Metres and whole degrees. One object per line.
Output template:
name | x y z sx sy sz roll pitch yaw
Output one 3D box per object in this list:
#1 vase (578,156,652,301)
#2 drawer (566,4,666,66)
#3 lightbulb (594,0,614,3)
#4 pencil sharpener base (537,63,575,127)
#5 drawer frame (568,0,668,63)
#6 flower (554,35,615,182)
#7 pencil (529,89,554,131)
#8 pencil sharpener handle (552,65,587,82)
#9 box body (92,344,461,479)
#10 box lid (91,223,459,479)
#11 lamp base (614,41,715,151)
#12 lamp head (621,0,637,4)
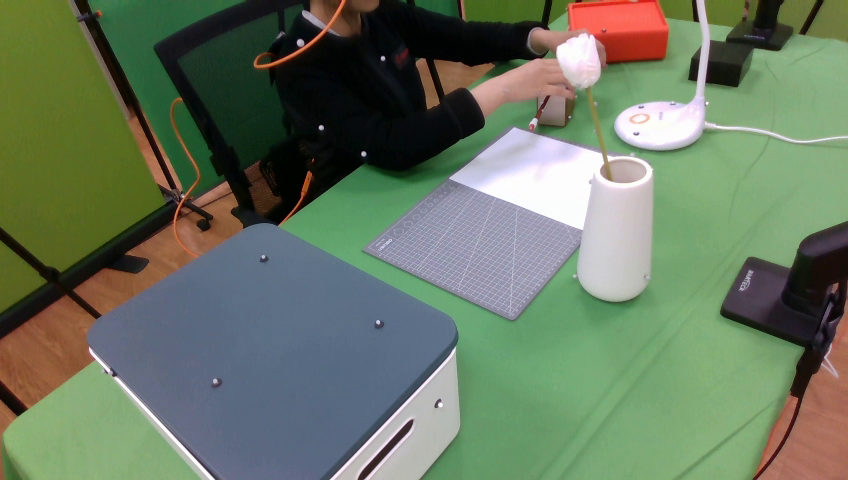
vase | 0.261 -0.011 0.812 0.098 0.201 0.097 -4 40 4
drawer | 0.448 -0.493 1.441 0.211 0.073 0.194 0 40 9
lightbulb | 0.305 -0.437 0.977 0.060 0.107 0.059 12 44 -11
pencil sharpener base | 0.267 -0.292 1.216 0.061 0.107 0.076 10 44 22
drawer frame | 0.450 -0.496 1.441 0.213 0.083 0.201 -1 40 9
flower | 0.237 -0.083 0.774 0.044 0.363 0.038 -22 26 6
pencil | 0.230 -0.261 1.145 0.012 0.012 0.194 11 45 23
pencil sharpener handle | 0.297 -0.340 1.230 0.067 0.036 0.030 20 47 12
box body | -0.162 0.170 0.708 0.361 0.161 0.255 25 50 34
box lid | -0.174 0.103 0.666 0.368 0.015 0.264 24 49 35
lamp base | 0.449 -0.277 1.106 0.179 0.181 0.160 1 41 9
lamp head | 0.319 -0.453 0.962 0.113 0.123 0.112 20 33 -13
